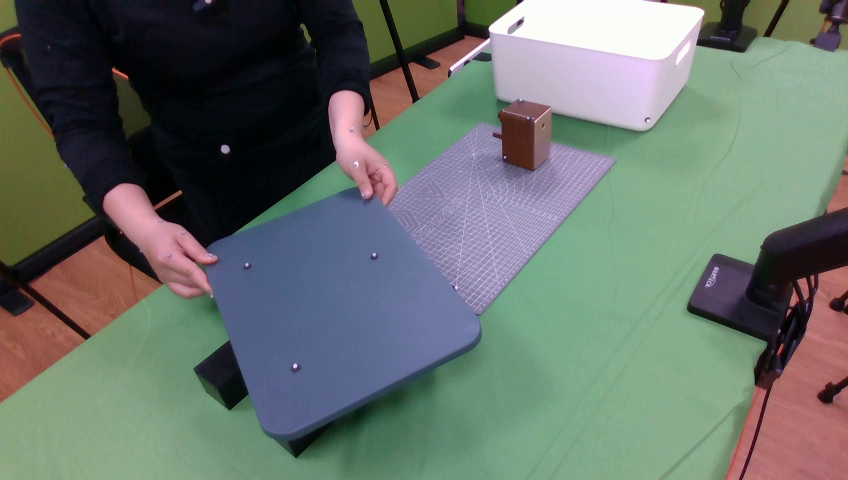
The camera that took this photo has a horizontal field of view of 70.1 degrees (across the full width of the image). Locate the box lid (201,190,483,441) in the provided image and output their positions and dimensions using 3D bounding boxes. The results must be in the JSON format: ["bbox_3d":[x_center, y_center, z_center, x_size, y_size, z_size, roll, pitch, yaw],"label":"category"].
[{"bbox_3d":[-0.121,0.064,0.762,0.264,0.015,0.368,-24,41,-17],"label":"box lid"}]

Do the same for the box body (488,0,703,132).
[{"bbox_3d":[0.346,-0.374,1.251,0.361,0.161,0.255,21,48,29],"label":"box body"}]

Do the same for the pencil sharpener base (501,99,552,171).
[{"bbox_3d":[0.184,-0.191,1.097,0.076,0.107,0.061,22,49,32],"label":"pencil sharpener base"}]

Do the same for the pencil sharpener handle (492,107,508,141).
[{"bbox_3d":[0.141,-0.216,1.114,0.030,0.068,0.036,22,42,32],"label":"pencil sharpener handle"}]
